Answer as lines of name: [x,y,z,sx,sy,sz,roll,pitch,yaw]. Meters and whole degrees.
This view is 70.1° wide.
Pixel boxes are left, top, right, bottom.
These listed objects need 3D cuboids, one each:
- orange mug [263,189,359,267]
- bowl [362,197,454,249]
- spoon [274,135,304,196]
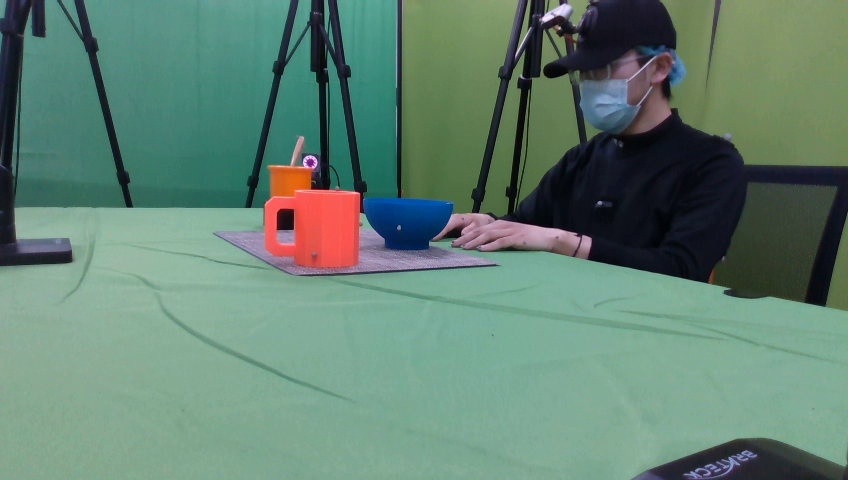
orange mug: [-0.147,-0.019,0.795,0.127,0.100,0.083,5,6,-19]
bowl: [-0.028,-0.029,0.991,0.151,0.077,0.151,2,7,0]
spoon: [-0.270,-0.153,1.246,0.041,0.193,0.022,-1,-37,9]
